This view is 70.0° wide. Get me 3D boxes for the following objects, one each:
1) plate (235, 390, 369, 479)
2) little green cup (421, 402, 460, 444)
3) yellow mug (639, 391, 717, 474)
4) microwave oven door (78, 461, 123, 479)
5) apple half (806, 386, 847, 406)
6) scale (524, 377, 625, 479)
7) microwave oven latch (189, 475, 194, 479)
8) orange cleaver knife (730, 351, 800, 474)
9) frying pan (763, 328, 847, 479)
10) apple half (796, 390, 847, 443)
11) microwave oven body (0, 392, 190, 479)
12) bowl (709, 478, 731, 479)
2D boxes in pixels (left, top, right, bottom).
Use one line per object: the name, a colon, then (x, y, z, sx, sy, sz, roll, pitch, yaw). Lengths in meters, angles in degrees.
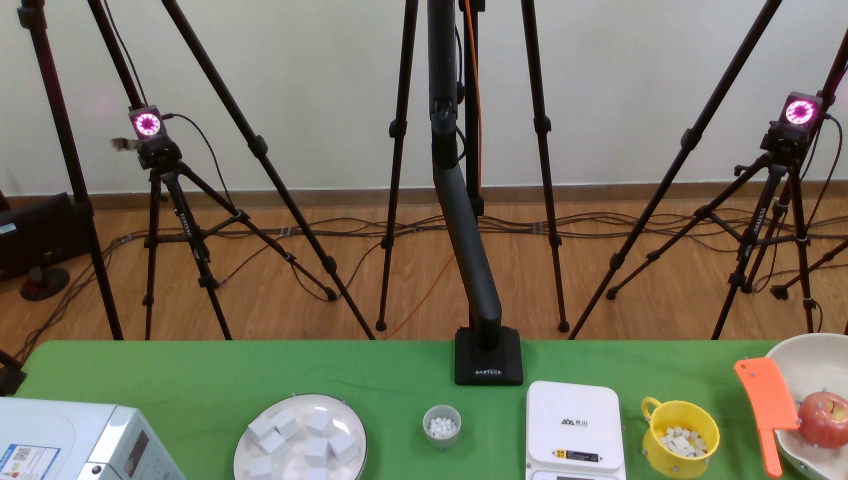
plate: (-0.189, 0.335, 0.956, 0.207, 0.039, 0.205, -2, 43, 2)
little green cup: (0.028, 0.298, 0.979, 0.061, 0.039, 0.061, -2, 43, 3)
yellow mug: (0.382, 0.289, 0.941, 0.100, 0.064, 0.129, -23, 46, -19)
microwave oven door: (-0.394, 0.461, 0.659, 0.039, 0.246, 0.352, 2, 43, 7)
apple half: (0.632, 0.256, 0.943, 0.080, 0.082, 0.033, 32, 57, 32)
scale: (0.234, 0.310, 0.955, 0.148, 0.032, 0.199, 3, 44, 8)
microwave oven latch: (-0.363, 0.386, 0.887, 0.030, 0.030, 0.078, 4, 44, 8)
orange cleaver knife: (0.522, 0.253, 0.915, 0.077, 0.012, 0.209, 2, 44, 10)
frying pan: (0.700, 0.320, 0.856, 0.307, 0.104, 0.482, -19, 37, -14)
apple half: (0.606, 0.277, 0.924, 0.080, 0.075, 0.053, 34, 58, 30)
microwave oven body: (-0.534, 0.432, 0.709, 0.326, 0.262, 0.437, 2, 44, 6)
bowl: (0.406, 0.406, 0.805, 0.151, 0.077, 0.150, -2, 44, 3)
